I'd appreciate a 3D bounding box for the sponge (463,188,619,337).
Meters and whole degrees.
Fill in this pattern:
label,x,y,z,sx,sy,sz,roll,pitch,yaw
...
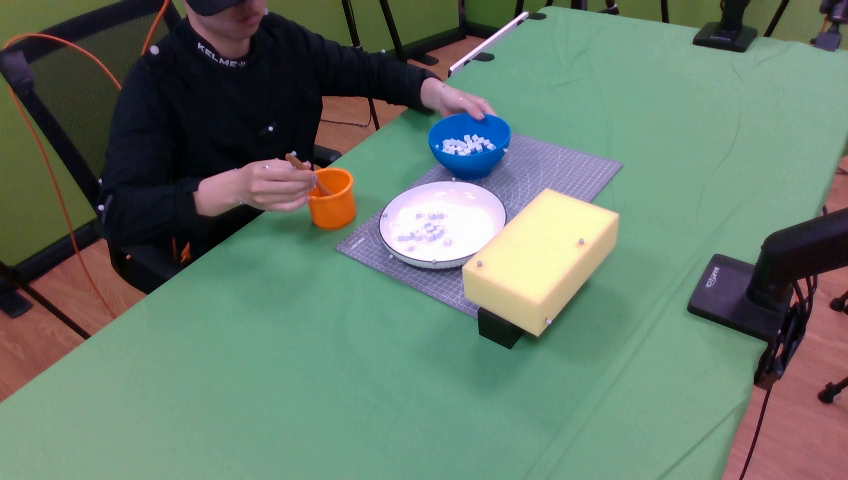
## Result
label,x,y,z,sx,sy,sz,roll,pitch,yaw
sponge,0.160,0.022,0.814,0.117,0.061,0.207,24,50,32

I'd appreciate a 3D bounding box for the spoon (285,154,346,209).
label,x,y,z,sx,sy,sz,roll,pitch,yaw
spoon,-0.175,-0.090,0.965,0.041,0.195,0.021,-6,65,15

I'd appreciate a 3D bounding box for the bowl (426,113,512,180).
label,x,y,z,sx,sy,sz,roll,pitch,yaw
bowl,0.084,-0.161,1.098,0.151,0.077,0.150,-4,40,4

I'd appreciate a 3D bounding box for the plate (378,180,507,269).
label,x,y,z,sx,sy,sz,roll,pitch,yaw
plate,0.031,-0.022,0.974,0.209,0.038,0.208,-4,40,4
